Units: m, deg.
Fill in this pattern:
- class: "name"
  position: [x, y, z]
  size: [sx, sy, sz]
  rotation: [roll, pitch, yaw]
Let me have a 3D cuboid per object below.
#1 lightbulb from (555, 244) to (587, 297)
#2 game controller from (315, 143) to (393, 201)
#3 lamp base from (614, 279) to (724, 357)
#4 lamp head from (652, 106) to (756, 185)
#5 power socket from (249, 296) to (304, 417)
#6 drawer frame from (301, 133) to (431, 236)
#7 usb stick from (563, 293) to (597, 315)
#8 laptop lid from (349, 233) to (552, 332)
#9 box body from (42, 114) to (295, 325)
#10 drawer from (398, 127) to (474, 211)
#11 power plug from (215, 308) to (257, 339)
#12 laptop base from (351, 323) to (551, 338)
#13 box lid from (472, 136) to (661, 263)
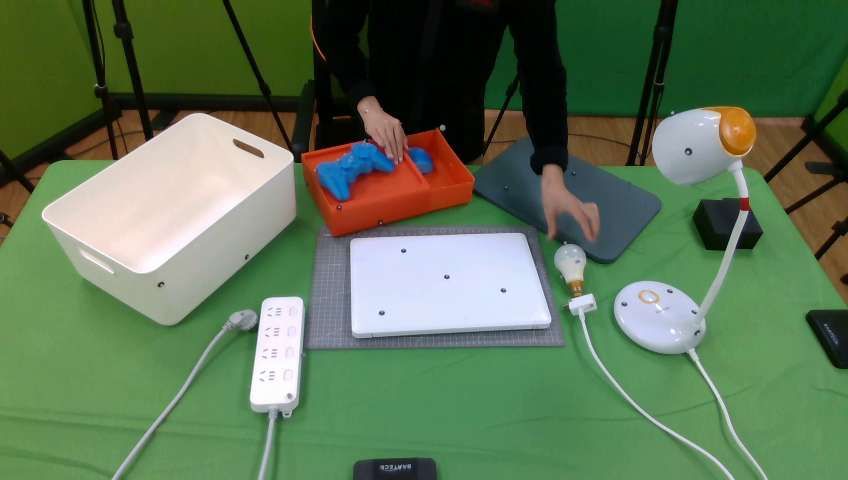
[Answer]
- class: "lightbulb"
  position: [0.282, 0.058, 1.146]
  size: [0.059, 0.060, 0.107]
  rotation: [-2, 62, -6]
- class: "game controller"
  position: [-0.144, -0.146, 1.212]
  size: [0.096, 0.052, 0.155]
  rotation: [32, 50, 29]
- class: "lamp base"
  position: [0.436, 0.090, 1.035]
  size: [0.161, 0.181, 0.178]
  rotation: [-23, 55, -23]
- class: "lamp head"
  position: [0.410, -0.139, 0.869]
  size: [0.113, 0.122, 0.112]
  rotation: [0, 89, -19]
- class: "power socket"
  position: [-0.239, 0.182, 0.996]
  size: [0.072, 0.033, 0.225]
  rotation: [-2, 47, -5]
- class: "drawer frame"
  position: [-0.122, -0.120, 1.260]
  size: [0.214, 0.083, 0.200]
  rotation: [-16, 50, -20]
- class: "usb stick"
  position: [0.280, 0.118, 1.093]
  size: [0.059, 0.021, 0.027]
  rotation: [-18, 35, 25]
- class: "laptop lid"
  position: [0.040, 0.070, 1.119]
  size: [0.357, 0.013, 0.240]
  rotation: [-1, 44, -5]
- class: "box body"
  position: [-0.437, -0.046, 1.110]
  size: [0.253, 0.161, 0.363]
  rotation: [24, 49, 19]
- class: "drawer"
  position: [-0.029, -0.143, 1.295]
  size: [0.212, 0.073, 0.193]
  rotation: [-15, 50, -19]
- class: "power plug"
  position: [-0.317, 0.143, 1.024]
  size: [0.072, 0.053, 0.035]
  rotation: [-32, 58, -8]
- class: "laptop base"
  position: [0.040, 0.080, 1.126]
  size: [0.355, 0.023, 0.234]
  rotation: [-2, 43, -6]
- class: "box lid"
  position: [0.306, -0.102, 1.327]
  size: [0.370, 0.015, 0.263]
  rotation: [32, 52, 25]
